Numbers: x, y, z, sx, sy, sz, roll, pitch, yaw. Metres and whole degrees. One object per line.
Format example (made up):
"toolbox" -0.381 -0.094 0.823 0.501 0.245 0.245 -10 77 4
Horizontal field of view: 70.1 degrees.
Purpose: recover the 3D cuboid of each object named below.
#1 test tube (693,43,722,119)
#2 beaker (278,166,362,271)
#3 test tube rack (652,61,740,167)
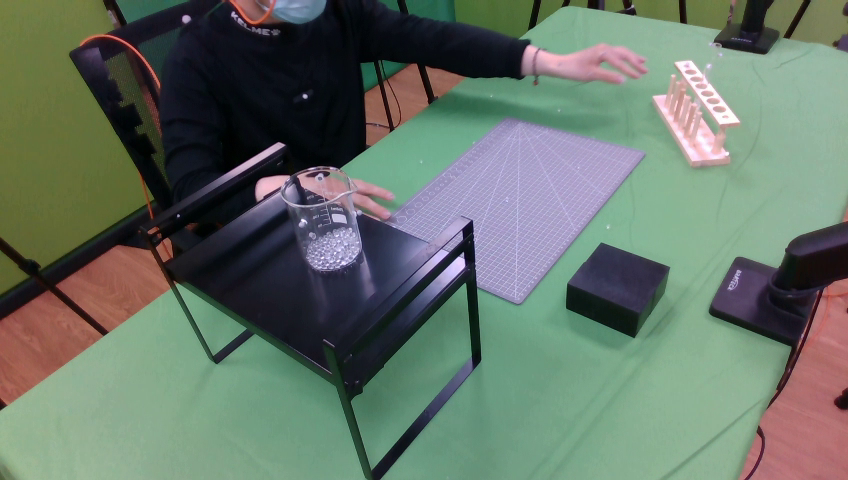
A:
"test tube" 0.513 -0.287 1.104 0.017 0.151 0.017 -1 45 2
"beaker" -0.109 -0.022 0.675 0.084 0.101 0.073 -2 41 5
"test tube rack" 0.499 -0.242 1.130 0.067 0.085 0.241 -5 41 4
